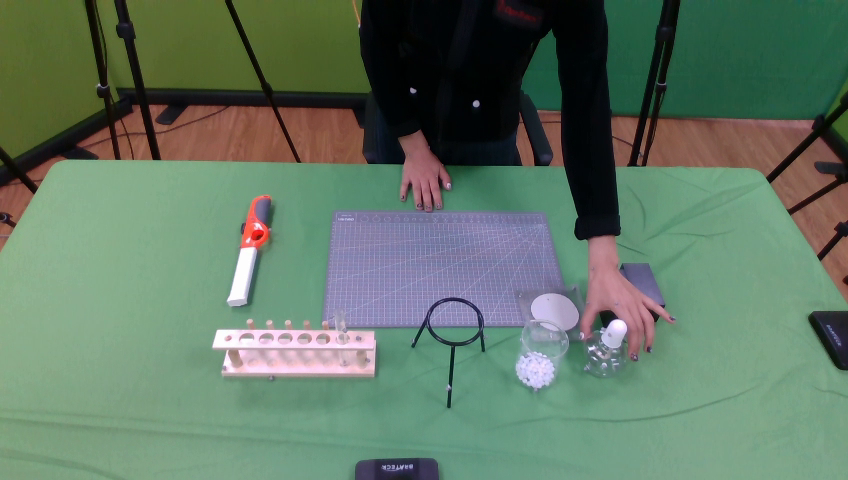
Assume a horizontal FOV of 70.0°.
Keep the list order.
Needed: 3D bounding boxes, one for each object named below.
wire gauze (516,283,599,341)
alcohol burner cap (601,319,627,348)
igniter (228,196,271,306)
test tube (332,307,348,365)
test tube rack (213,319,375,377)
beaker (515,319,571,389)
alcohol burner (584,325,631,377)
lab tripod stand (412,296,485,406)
[{"bbox_3d":[0.240,0.131,1.094,0.125,0.011,0.120,-3,48,-8],"label":"wire gauze"},{"bbox_3d":[0.305,0.146,0.966,0.034,0.048,0.033,6,41,-5],"label":"alcohol burner cap"},{"bbox_3d":[-0.332,0.011,1.160,0.057,0.025,0.274,-6,46,5],"label":"igniter"},{"bbox_3d":[-0.128,0.151,0.931,0.017,0.151,0.017,2,50,-2],"label":"test tube"},{"bbox_3d":[-0.202,0.170,0.977,0.242,0.085,0.066,1,46,-3],"label":"test tube rack"},{"bbox_3d":[0.186,0.186,0.980,0.074,0.101,0.083,-23,51,-24],"label":"beaker"},{"bbox_3d":[0.304,0.171,0.991,0.078,0.119,0.077,2,48,-2],"label":"alcohol burner"},{"bbox_3d":[0.045,0.168,0.963,0.148,0.132,0.147,3,47,-3],"label":"lab tripod stand"}]
